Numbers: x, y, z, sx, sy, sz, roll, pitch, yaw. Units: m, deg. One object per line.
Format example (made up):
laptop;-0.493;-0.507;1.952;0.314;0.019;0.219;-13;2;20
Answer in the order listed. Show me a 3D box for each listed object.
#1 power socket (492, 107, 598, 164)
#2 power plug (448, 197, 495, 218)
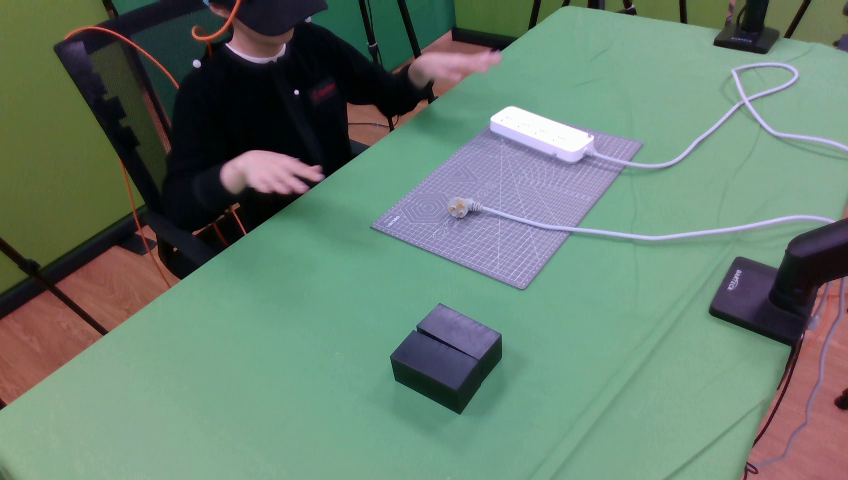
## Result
power socket;0.227;-0.205;1.170;0.072;0.033;0.225;-36;48;-28
power plug;0.076;-0.055;1.010;0.072;0.035;0.053;0;23;27
